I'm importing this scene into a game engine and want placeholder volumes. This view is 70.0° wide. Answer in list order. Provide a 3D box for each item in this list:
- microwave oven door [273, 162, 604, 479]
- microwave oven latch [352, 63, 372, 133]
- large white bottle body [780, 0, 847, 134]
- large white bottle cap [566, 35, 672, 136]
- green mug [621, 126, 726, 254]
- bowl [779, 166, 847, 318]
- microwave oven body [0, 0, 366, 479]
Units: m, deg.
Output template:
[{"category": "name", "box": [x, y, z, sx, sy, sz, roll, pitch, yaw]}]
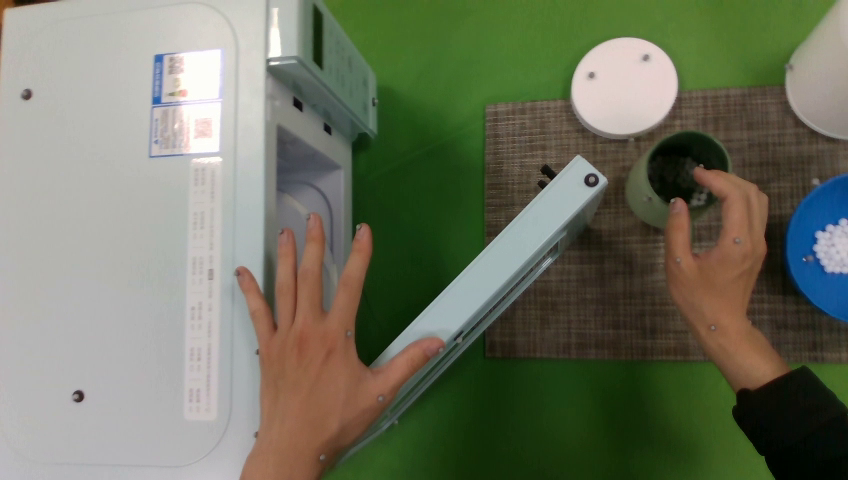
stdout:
[{"category": "microwave oven door", "box": [0.027, 0.084, 0.576, 0.039, 0.245, 0.356, 44, 94, 13]}, {"category": "microwave oven latch", "box": [-0.078, -0.170, 0.723, 0.030, 0.029, 0.079, -2, 85, 11]}, {"category": "large white bottle body", "box": [0.430, -0.189, 0.562, 0.130, 0.185, 0.130, -2, 80, 11]}, {"category": "large white bottle cap", "box": [0.220, -0.176, 0.688, 0.114, 0.018, 0.114, -1, 83, 11]}, {"category": "green mug", "box": [0.257, -0.048, 0.625, 0.092, 0.105, 0.125, -3, 84, 11]}, {"category": "bowl", "box": [0.424, 0.005, 0.600, 0.151, 0.077, 0.151, -1, 85, 12]}, {"category": "microwave oven body", "box": [-0.238, 0.004, 0.641, 0.325, 0.261, 0.440, -3, 85, 11]}]
